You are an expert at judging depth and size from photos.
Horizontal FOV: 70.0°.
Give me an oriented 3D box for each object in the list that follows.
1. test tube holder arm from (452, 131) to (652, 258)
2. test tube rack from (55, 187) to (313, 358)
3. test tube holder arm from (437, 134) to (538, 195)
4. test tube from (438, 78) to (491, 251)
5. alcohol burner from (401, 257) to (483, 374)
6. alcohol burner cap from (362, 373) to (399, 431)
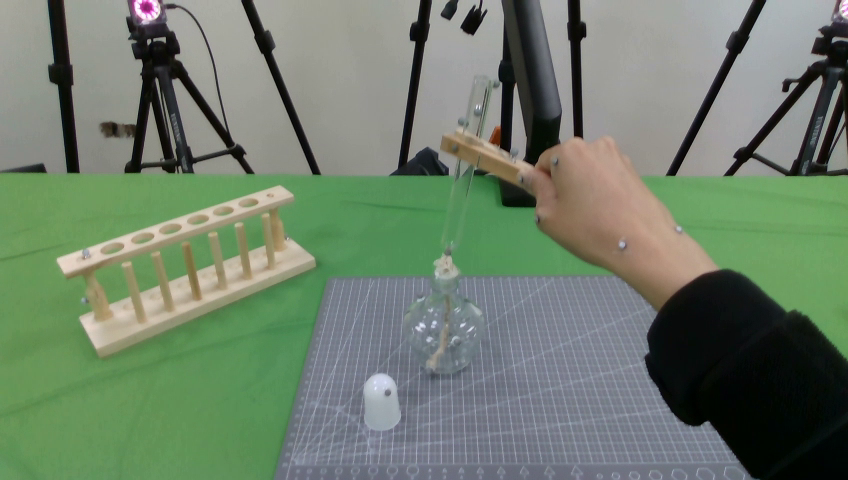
[{"bbox_3d":[0.084,-0.038,0.434,0.013,0.015,0.176,-24,47,-40],"label":"test tube holder arm"},{"bbox_3d":[-0.246,0.026,0.657,0.243,0.086,0.066,-24,39,-33],"label":"test tube rack"},{"bbox_3d":[0.047,-0.057,0.452,0.087,0.015,0.010,29,38,25],"label":"test tube holder arm"},{"bbox_3d":[0.030,-0.054,0.478,0.017,0.151,0.017,7,34,-5],"label":"test tube"},{"bbox_3d":[0.017,0.064,0.558,0.078,0.120,0.077,1,34,0],"label":"alcohol burner"},{"bbox_3d":[-0.038,0.134,0.514,0.034,0.048,0.033,1,32,0],"label":"alcohol burner cap"}]
